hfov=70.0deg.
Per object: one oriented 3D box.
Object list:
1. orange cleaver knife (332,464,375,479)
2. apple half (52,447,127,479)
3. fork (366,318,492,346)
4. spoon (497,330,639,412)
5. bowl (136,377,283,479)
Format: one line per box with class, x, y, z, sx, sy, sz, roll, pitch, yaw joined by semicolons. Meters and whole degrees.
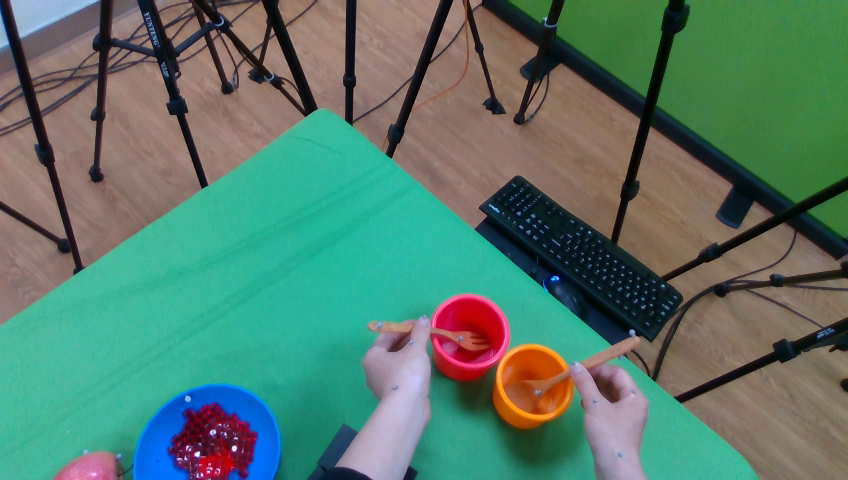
orange cleaver knife;-0.012;0.306;0.647;0.212;0.077;0.012;42;56;-7
apple half;-0.364;0.265;0.655;0.075;0.054;0.080;-19;64;-13
fork;0.012;0.108;0.724;0.209;0.018;0.028;17;43;-45
spoon;0.165;0.153;0.711;0.022;0.194;0.041;13;49;-48
bowl;-0.227;0.237;0.668;0.151;0.077;0.150;2;61;-4
